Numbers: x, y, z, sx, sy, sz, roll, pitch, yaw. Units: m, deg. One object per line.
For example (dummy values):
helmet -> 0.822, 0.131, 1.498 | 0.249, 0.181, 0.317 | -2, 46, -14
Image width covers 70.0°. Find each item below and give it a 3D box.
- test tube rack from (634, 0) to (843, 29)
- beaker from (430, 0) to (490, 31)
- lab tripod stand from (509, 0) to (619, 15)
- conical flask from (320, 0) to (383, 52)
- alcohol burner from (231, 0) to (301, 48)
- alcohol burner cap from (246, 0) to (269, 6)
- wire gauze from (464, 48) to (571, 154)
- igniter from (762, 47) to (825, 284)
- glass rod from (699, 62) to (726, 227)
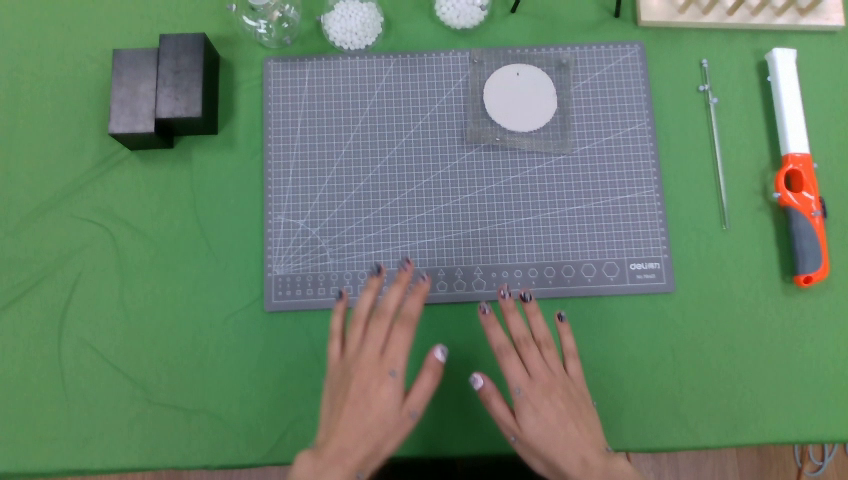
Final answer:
test tube rack -> 0.375, -0.296, 0.693 | 0.242, 0.085, 0.066 | 1, 78, 0
beaker -> 0.043, -0.289, 0.684 | 0.074, 0.100, 0.083 | -20, 80, -3
lab tripod stand -> 0.168, -0.320, 0.673 | 0.148, 0.132, 0.148 | 0, 81, 1
conical flask -> -0.086, -0.268, 0.667 | 0.075, 0.122, 0.075 | 0, 79, 0
alcohol burner -> -0.180, -0.266, 0.671 | 0.078, 0.119, 0.077 | 0, 80, 2
alcohol burner cap -> -0.180, -0.275, 0.636 | 0.034, 0.048, 0.033 | 0, 73, -1
wire gauze -> 0.110, -0.164, 0.704 | 0.125, 0.011, 0.121 | 6, 79, -2
igniter -> 0.416, -0.087, 0.683 | 0.057, 0.025, 0.275 | 1, 79, -10
glass rod -> 0.331, -0.113, 0.697 | 0.008, 0.008, 0.199 | -2, 79, -1
